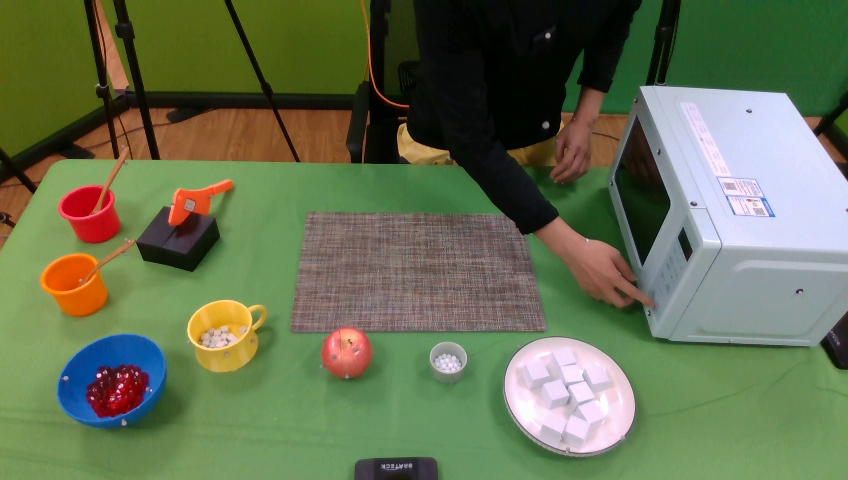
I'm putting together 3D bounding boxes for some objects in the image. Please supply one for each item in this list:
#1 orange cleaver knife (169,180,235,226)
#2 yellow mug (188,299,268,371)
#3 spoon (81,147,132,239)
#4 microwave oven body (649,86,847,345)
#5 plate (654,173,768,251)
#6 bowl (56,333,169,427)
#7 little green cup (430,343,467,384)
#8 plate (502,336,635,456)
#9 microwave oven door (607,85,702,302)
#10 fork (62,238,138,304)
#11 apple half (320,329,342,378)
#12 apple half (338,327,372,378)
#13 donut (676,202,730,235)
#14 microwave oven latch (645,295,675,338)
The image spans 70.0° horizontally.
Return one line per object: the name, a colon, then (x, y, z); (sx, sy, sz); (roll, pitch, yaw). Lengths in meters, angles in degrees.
orange cleaver knife: (-0.436, -0.076, 1.199); (0.012, 0.077, 0.211); (17, 17, 9)
yellow mug: (-0.316, 0.148, 1.002); (0.131, 0.064, 0.099); (-33, 56, -31)
spoon: (-0.603, -0.089, 1.156); (0.041, 0.022, 0.193); (28, 94, 18)
microwave oven body: (0.567, -0.053, 1.118); (0.326, 0.261, 0.439); (2, 45, -1)
plate: (0.556, -0.050, 1.187); (0.209, 0.038, 0.208); (1, 46, -1)
bowl: (-0.456, 0.222, 0.911); (0.151, 0.077, 0.150); (2, 46, -2)
little green cup: (0.039, 0.203, 0.993); (0.061, 0.039, 0.061); (2, 47, -2)
plate: (0.225, 0.248, 0.963); (0.208, 0.039, 0.206); (2, 46, -2)
microwave oven door: (0.423, -0.094, 1.141); (0.039, 0.245, 0.353); (2, 46, -1)
fork: (-0.547, 0.053, 1.019); (0.207, 0.019, 0.028); (-36, 41, 23)
apple half: (-0.150, 0.186, 0.972); (0.033, 0.081, 0.080); (-2, 46, -13)
apple half: (-0.111, 0.182, 0.980); (0.053, 0.075, 0.080); (-2, 42, -12)
donut: (0.537, -0.042, 1.170); (0.099, 0.048, 0.098); (6, 24, -2)
microwave oven latch: (0.411, 0.134, 1.061); (0.030, 0.029, 0.078); (3, 45, 0)
